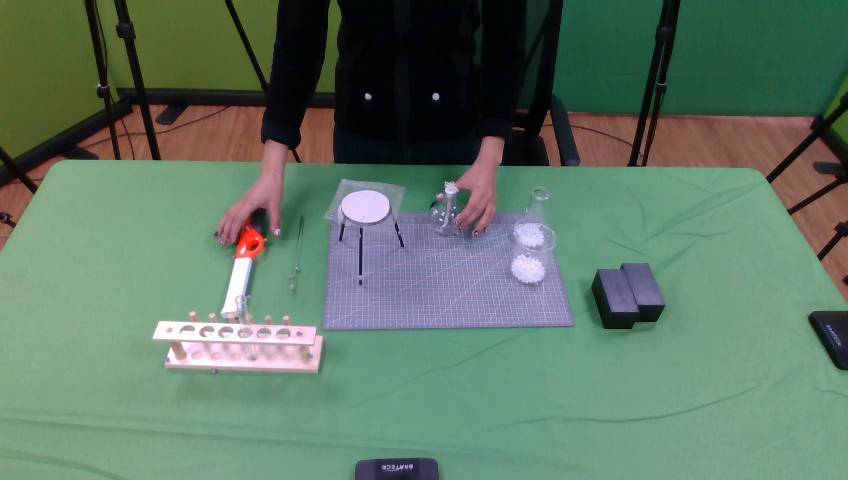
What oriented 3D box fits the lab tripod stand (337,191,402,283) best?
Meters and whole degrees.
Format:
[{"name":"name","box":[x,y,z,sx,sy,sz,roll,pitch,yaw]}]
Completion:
[{"name":"lab tripod stand","box":[-0.106,-0.016,1.125,0.148,0.132,0.147,3,44,-2]}]

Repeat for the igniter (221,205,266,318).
[{"name":"igniter","box":[-0.337,0.031,1.140,0.057,0.025,0.274,-6,46,4]}]

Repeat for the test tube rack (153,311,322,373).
[{"name":"test tube rack","box":[-0.293,0.160,0.978,0.242,0.085,0.066,3,46,-2]}]

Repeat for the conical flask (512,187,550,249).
[{"name":"conical flask","box":[0.217,-0.048,1.190,0.075,0.122,0.075,2,46,-2]}]

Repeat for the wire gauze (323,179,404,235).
[{"name":"wire gauze","box":[-0.106,-0.064,1.078,0.125,0.011,0.121,11,45,5]}]

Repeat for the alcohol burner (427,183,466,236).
[{"name":"alcohol burner","box":[0.047,-0.066,1.201,0.078,0.119,0.077,4,45,-3]}]

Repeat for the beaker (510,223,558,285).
[{"name":"beaker","box":[0.199,0.028,1.132,0.083,0.101,0.074,26,50,21]}]

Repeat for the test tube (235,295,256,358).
[{"name":"test tube","box":[-0.274,0.136,0.933,0.017,0.151,0.017,4,45,-4]}]

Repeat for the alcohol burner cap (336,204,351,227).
[{"name":"alcohol burner cap","box":[-0.162,-0.053,1.220,0.034,0.048,0.033,2,47,-2]}]

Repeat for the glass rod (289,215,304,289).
[{"name":"glass rod","box":[-0.246,0.019,1.171,0.008,0.008,0.198,0,44,-3]}]
